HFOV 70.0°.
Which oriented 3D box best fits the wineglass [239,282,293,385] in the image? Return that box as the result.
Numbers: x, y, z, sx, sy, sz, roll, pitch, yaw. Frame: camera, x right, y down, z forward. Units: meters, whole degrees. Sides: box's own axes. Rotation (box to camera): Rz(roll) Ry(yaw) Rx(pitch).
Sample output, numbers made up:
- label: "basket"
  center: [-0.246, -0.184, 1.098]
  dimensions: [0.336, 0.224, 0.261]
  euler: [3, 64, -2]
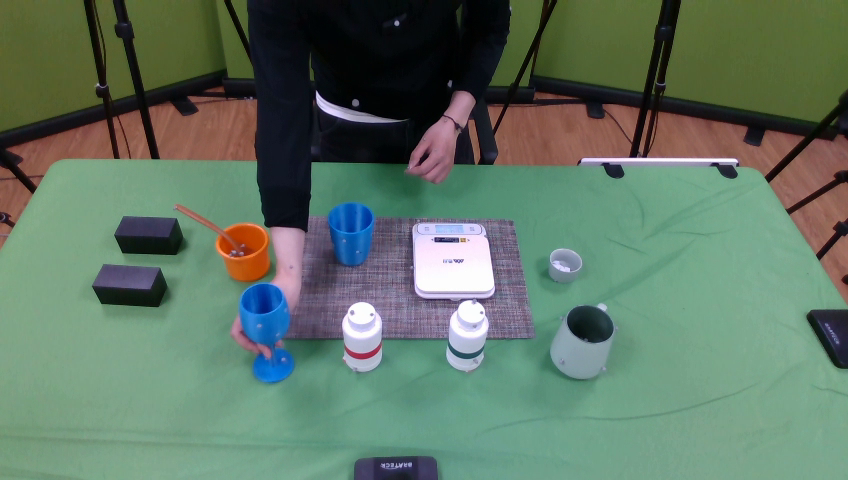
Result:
- label: "wineglass"
  center: [-0.240, 0.144, 0.932]
  dimensions: [0.074, 0.173, 0.073]
  euler: [3, 44, -3]

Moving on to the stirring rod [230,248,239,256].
- label: "stirring rod"
  center: [-0.331, 0.022, 1.058]
  dimensions: [0.014, 0.176, 0.006]
  euler: [32, 79, -12]

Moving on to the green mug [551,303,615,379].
- label: "green mug"
  center: [0.271, 0.157, 1.007]
  dimensions: [0.092, 0.105, 0.125]
  euler: [27, 50, 21]

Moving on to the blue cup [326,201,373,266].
- label: "blue cup"
  center: [-0.138, -0.006, 1.131]
  dimensions: [0.093, 0.101, 0.092]
  euler: [3, 45, -3]

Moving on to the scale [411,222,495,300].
- label: "scale"
  center: [0.052, 0.031, 1.158]
  dimensions: [0.149, 0.032, 0.199]
  euler: [1, 46, -4]

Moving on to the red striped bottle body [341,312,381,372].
- label: "red striped bottle body"
  center: [-0.100, 0.154, 0.972]
  dimensions: [0.063, 0.120, 0.062]
  euler: [2, 46, -2]

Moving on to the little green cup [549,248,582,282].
- label: "little green cup"
  center: [0.268, 0.050, 1.156]
  dimensions: [0.061, 0.039, 0.061]
  euler: [1, 46, -1]

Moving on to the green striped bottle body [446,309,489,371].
- label: "green striped bottle body"
  center: [0.070, 0.155, 0.984]
  dimensions: [0.063, 0.120, 0.063]
  euler: [2, 46, -2]

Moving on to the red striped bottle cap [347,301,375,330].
- label: "red striped bottle cap"
  center: [-0.097, 0.116, 0.934]
  dimensions: [0.044, 0.018, 0.044]
  euler: [2, 49, -3]

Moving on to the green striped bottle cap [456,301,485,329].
- label: "green striped bottle cap"
  center: [0.073, 0.116, 0.943]
  dimensions: [0.044, 0.020, 0.044]
  euler: [3, 46, -3]

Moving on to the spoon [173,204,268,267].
- label: "spoon"
  center: [-0.363, -0.009, 1.089]
  dimensions: [0.021, 0.195, 0.041]
  euler: [-35, 31, 22]
